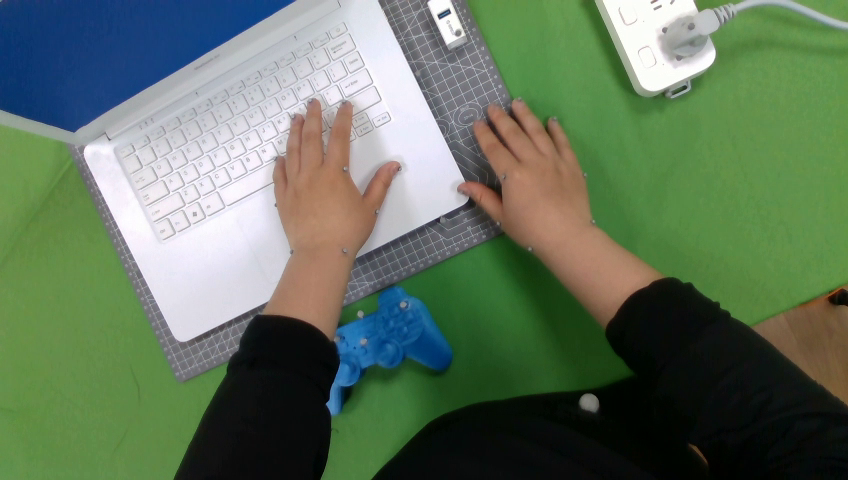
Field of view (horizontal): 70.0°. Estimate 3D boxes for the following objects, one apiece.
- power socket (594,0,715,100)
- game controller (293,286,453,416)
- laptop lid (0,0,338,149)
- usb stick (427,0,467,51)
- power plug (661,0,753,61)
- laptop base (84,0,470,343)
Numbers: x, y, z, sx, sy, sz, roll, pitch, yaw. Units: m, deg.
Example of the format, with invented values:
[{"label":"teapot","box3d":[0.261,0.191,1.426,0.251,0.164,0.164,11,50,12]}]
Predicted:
[{"label":"power socket","box3d":[0.189,-0.235,0.548,0.072,0.032,0.226,-24,90,11]},{"label":"game controller","box3d":[-0.057,0.112,0.608,0.155,0.052,0.097,-25,86,9]},{"label":"laptop lid","box3d":[-0.236,-0.181,0.506,0.356,0.242,0.013,-27,81,11]},{"label":"usb stick","box3d":[0.019,-0.213,0.577,0.021,0.027,0.059,-25,88,11]},{"label":"power plug","box3d":[0.243,-0.179,0.525,0.072,0.052,0.035,-13,91,5]},{"label":"laptop base","box3d":[-0.157,-0.067,0.623,0.354,0.023,0.235,-26,93,10]}]
